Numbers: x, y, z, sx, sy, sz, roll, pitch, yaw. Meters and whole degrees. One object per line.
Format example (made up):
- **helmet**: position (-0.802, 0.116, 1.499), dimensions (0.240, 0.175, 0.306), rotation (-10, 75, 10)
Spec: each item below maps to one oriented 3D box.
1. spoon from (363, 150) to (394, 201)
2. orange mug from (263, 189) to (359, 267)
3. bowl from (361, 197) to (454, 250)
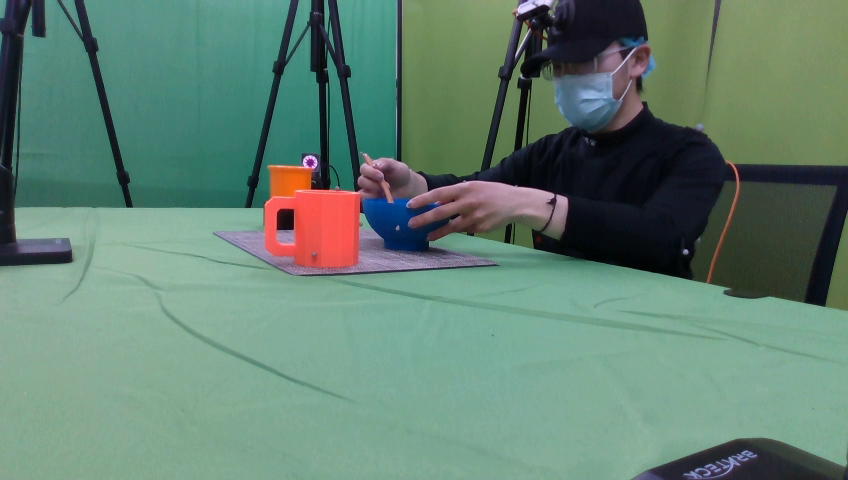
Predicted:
- **spoon**: position (-0.063, -0.080, 1.012), dimensions (0.042, 0.193, 0.021), rotation (-10, -28, -27)
- **orange mug**: position (-0.147, -0.019, 0.794), dimensions (0.127, 0.100, 0.083), rotation (5, 6, -19)
- **bowl**: position (-0.027, -0.027, 0.984), dimensions (0.151, 0.077, 0.151), rotation (2, 6, 0)
